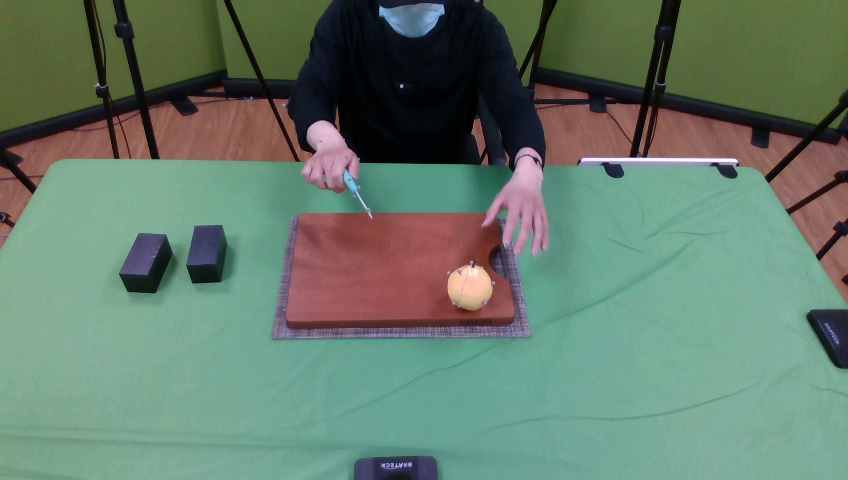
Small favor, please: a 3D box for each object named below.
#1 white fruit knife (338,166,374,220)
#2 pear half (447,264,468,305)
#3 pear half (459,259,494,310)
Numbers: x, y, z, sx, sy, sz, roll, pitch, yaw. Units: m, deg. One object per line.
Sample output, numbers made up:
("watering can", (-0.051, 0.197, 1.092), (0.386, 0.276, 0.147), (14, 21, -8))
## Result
("white fruit knife", (-0.119, -0.085, 1.061), (0.016, 0.027, 0.206), (-28, 37, -7))
("pear half", (0.056, 0.073, 1.041), (0.031, 0.088, 0.070), (6, 53, 2))
("pear half", (0.092, 0.072, 1.031), (0.056, 0.110, 0.076), (7, 50, 3))
